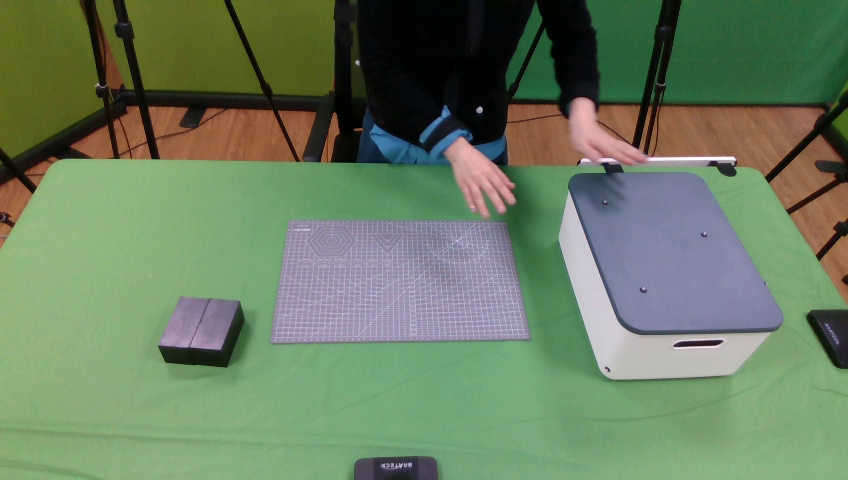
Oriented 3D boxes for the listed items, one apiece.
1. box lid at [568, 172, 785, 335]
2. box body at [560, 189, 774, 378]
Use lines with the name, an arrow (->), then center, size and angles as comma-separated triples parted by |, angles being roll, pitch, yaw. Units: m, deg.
box lid -> 0.407, 0.007, 1.019 | 0.263, 0.015, 0.369 | -1, 46, -5
box body -> 0.405, 0.057, 1.074 | 0.254, 0.161, 0.361 | -2, 46, -5
